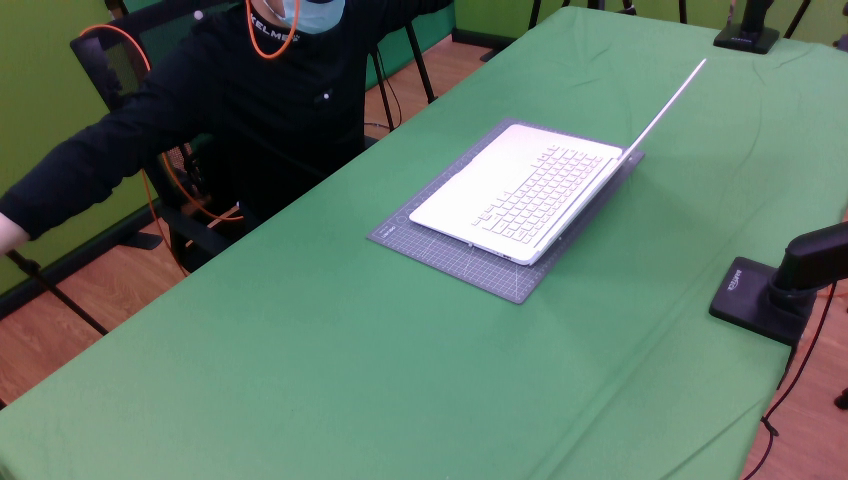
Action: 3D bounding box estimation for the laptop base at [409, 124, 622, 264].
[{"bbox_3d":[0.168,-0.095,1.057,0.233,0.023,0.355,20,47,32],"label":"laptop base"}]

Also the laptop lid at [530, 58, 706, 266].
[{"bbox_3d":[0.293,-0.118,0.905,0.013,0.241,0.357,40,53,9],"label":"laptop lid"}]
